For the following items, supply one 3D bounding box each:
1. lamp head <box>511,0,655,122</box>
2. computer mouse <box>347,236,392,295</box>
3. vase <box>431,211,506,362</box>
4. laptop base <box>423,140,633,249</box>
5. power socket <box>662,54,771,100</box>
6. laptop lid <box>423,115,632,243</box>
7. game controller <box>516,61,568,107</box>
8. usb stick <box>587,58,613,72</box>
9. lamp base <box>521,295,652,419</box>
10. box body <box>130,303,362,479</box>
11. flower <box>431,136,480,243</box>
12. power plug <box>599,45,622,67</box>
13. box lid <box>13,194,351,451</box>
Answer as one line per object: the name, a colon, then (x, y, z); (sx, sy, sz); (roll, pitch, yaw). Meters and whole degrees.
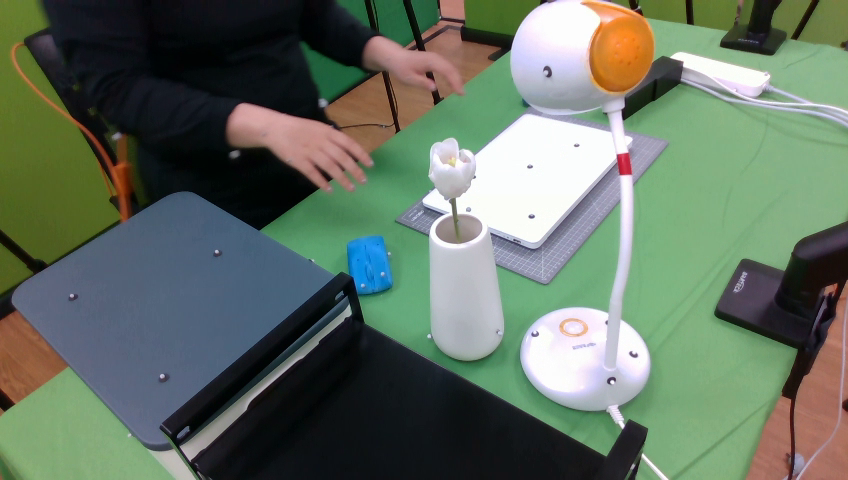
lamp head: (0.155, -0.168, 0.564); (0.113, 0.113, 0.122); (-18, 23, -12)
computer mouse: (-0.086, 0.035, 0.936); (0.063, 0.041, 0.116); (-8, 44, -5)
vase: (0.054, 0.062, 0.757); (0.098, 0.201, 0.097); (-3, 40, 3)
laptop base: (0.194, -0.117, 1.087); (0.233, 0.023, 0.355); (20, 47, 34)
power socket: (0.615, -0.348, 1.285); (0.072, 0.033, 0.225); (-36, 48, -29)
laptop lid: (0.190, -0.126, 1.081); (0.239, 0.013, 0.358); (23, 48, 34)
game controller: (0.259, -0.352, 1.336); (0.097, 0.052, 0.154); (-3, 41, 2)
usb stick: (0.401, -0.399, 1.381); (0.059, 0.027, 0.021); (0, 50, 21)
lamp base: (0.201, 0.095, 0.710); (0.161, 0.181, 0.177); (-16, 43, -10)
box body: (-0.285, 0.123, 0.766); (0.361, 0.161, 0.255); (25, 49, 33)
flower: (0.041, 0.011, 0.691); (0.044, 0.363, 0.038); (16, 62, 14)
power plug: (0.437, -0.422, 1.412); (0.053, 0.035, 0.072); (-18, 73, -47)
box lid: (-0.292, 0.067, 0.717); (0.368, 0.015, 0.264); (25, 50, 33)
